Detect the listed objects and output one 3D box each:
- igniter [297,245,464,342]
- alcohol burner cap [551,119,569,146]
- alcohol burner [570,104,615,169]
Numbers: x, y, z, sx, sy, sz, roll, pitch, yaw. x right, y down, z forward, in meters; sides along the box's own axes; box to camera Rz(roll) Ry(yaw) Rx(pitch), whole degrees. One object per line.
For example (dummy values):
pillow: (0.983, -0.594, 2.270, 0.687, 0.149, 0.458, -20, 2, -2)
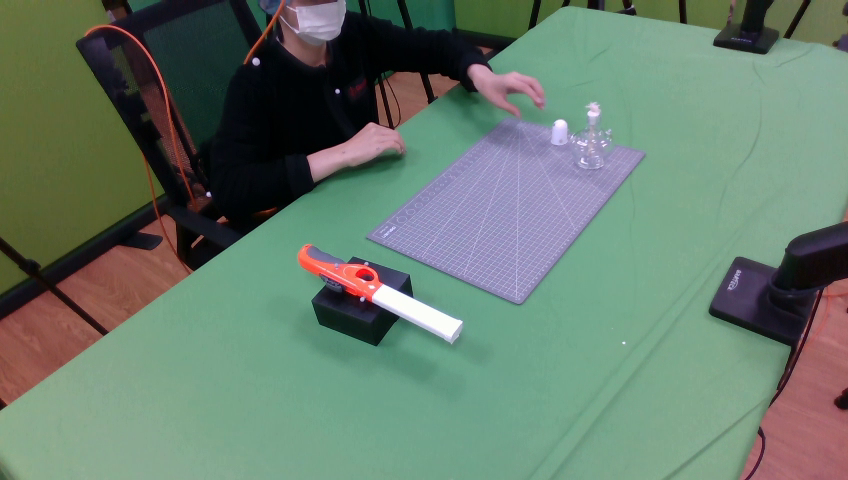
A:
igniter: (-0.070, 0.068, 0.828, 0.274, 0.025, 0.057, 23, 49, 25)
alcohol burner cap: (0.261, -0.208, 1.156, 0.034, 0.048, 0.033, -5, 41, 5)
alcohol burner: (0.299, -0.186, 1.071, 0.078, 0.119, 0.077, -6, 41, 6)
